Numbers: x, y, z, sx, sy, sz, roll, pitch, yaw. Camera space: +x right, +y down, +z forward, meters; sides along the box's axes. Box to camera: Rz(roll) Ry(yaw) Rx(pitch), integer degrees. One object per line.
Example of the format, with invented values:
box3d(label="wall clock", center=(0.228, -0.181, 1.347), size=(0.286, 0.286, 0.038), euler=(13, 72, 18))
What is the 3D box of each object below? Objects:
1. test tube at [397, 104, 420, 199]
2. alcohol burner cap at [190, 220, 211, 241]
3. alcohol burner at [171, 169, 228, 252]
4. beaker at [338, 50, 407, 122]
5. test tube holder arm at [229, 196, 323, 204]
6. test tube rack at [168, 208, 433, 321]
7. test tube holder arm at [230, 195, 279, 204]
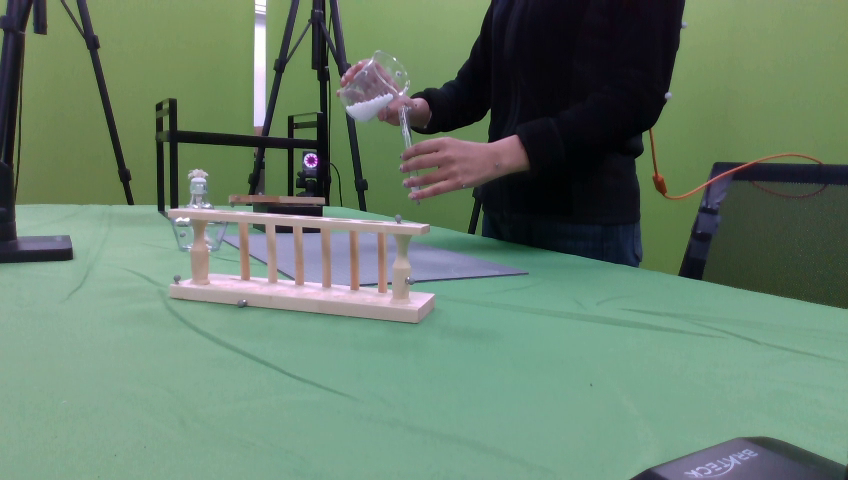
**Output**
box3d(label="test tube", center=(-0.025, -0.138, 0.944), size=(0.017, 0.150, 0.017), euler=(-9, -1, 0))
box3d(label="alcohol burner cap", center=(-0.365, -0.023, 0.988), size=(0.034, 0.048, 0.034), euler=(1, 7, 0))
box3d(label="alcohol burner", center=(-0.325, -0.043, 0.875), size=(0.078, 0.119, 0.078), euler=(0, 7, 0))
box3d(label="beaker", center=(-0.085, -0.244, 0.980), size=(0.100, 0.084, 0.074), euler=(-35, -10, 38))
box3d(label="test tube holder arm", center=(-0.276, -0.076, 1.143), size=(0.179, 0.015, 0.013), euler=(-2, 1, -32))
box3d(label="test tube rack", center=(-0.115, 0.017, 0.574), size=(0.242, 0.085, 0.067), euler=(4, 8, 13))
box3d(label="test tube holder arm", center=(-0.311, -0.075, 1.115), size=(0.088, 0.015, 0.010), euler=(-2, 1, -31))
